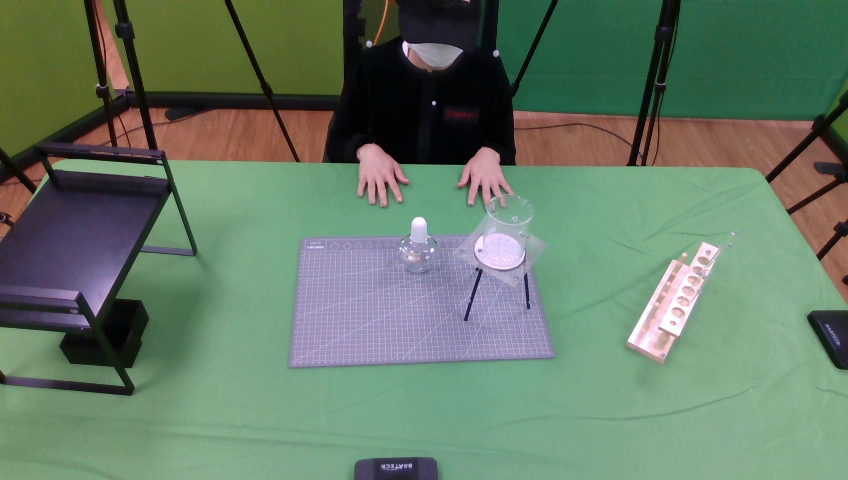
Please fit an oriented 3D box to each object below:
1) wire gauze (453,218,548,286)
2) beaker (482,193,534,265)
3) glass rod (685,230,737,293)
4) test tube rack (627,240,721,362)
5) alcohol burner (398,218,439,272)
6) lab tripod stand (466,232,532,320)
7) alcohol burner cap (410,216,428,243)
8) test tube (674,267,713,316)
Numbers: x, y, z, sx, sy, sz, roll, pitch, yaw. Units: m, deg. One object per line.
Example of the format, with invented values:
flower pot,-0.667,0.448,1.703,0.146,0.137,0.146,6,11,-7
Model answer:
wire gauze,0.129,0.014,1.019,0.124,0.011,0.121,26,47,25
beaker,0.135,-0.016,0.979,0.073,0.101,0.084,35,52,28
glass rod,0.495,0.042,1.051,0.008,0.200,0.008,2,55,-2
test tube rack,0.452,0.098,1.087,0.066,0.085,0.242,28,51,22
alcohol burner,-0.010,0.004,1.124,0.078,0.120,0.077,1,47,0
lab tripod stand,0.125,0.059,1.065,0.148,0.132,0.147,1,45,0
alcohol burner cap,-0.009,-0.022,1.099,0.034,0.048,0.033,2,41,-1
test tube,0.445,0.098,1.017,0.017,0.151,0.017,4,49,-4
